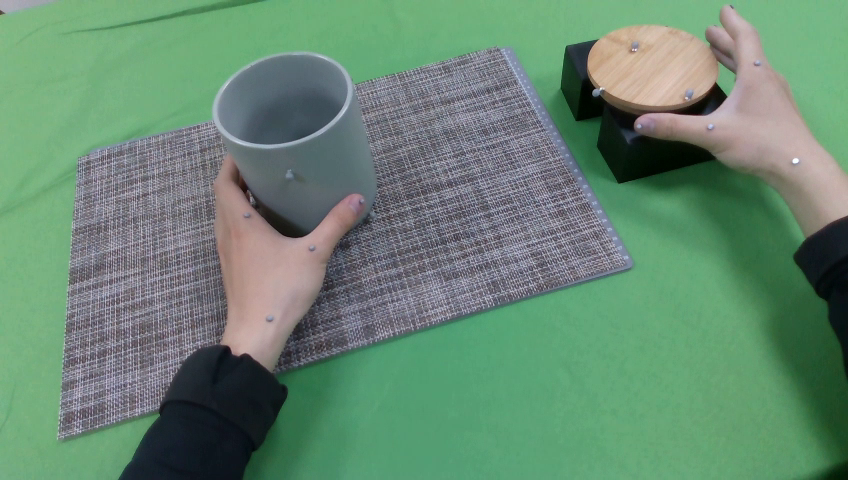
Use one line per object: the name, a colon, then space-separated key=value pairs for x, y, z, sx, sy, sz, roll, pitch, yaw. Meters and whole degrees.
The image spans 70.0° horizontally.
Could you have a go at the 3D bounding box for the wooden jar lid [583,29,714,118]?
wooden jar lid: x=0.194 y=-0.145 z=0.529 sx=0.108 sy=0.021 sz=0.107 roll=-3 pitch=56 yaw=4

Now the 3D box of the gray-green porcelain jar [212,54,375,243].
gray-green porcelain jar: x=-0.099 y=-0.067 z=0.497 sx=0.106 sy=0.128 sz=0.105 roll=-3 pitch=54 yaw=5
